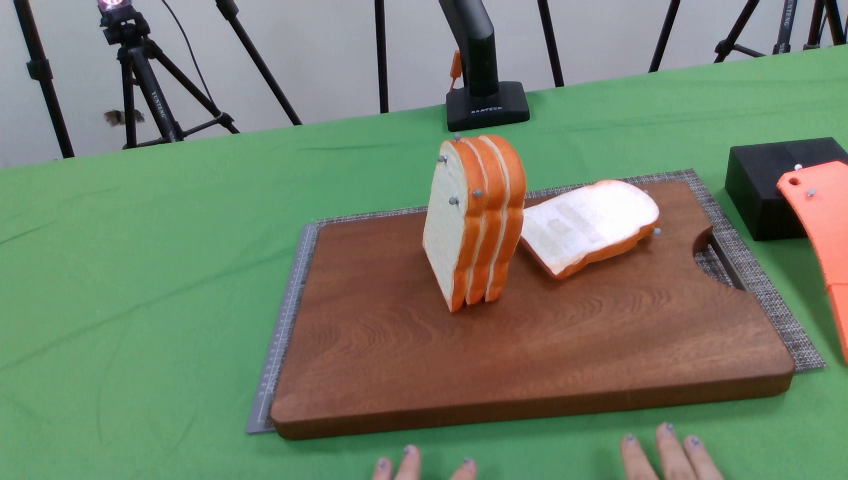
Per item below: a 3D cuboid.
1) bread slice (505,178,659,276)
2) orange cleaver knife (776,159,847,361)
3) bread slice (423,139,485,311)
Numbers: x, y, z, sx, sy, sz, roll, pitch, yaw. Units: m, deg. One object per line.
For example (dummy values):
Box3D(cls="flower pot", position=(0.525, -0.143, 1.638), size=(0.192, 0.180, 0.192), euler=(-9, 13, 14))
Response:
Box3D(cls="bread slice", position=(0.159, -0.018, 0.590), size=(0.131, 0.019, 0.103), euler=(-22, 36, -7))
Box3D(cls="orange cleaver knife", position=(0.361, 0.010, 0.513), size=(0.077, 0.012, 0.209), euler=(-1, 54, 10))
Box3D(cls="bread slice", position=(0.026, -0.022, 0.547), size=(0.018, 0.135, 0.106), euler=(-3, 34, -16))
